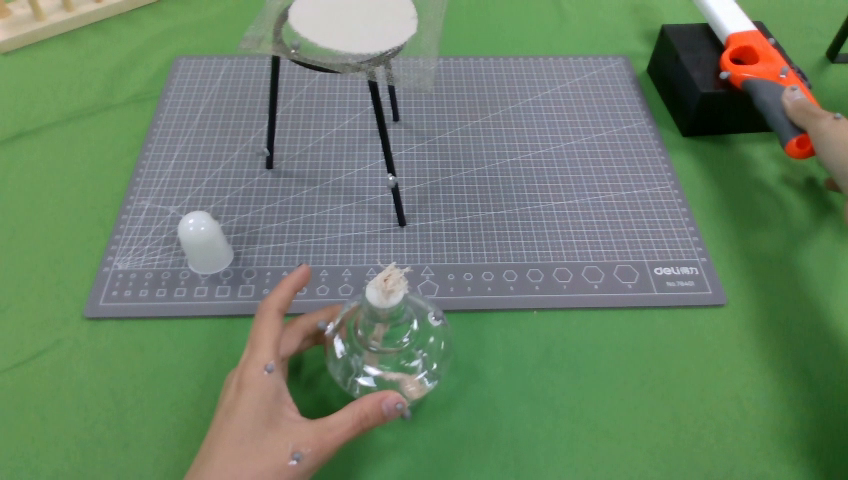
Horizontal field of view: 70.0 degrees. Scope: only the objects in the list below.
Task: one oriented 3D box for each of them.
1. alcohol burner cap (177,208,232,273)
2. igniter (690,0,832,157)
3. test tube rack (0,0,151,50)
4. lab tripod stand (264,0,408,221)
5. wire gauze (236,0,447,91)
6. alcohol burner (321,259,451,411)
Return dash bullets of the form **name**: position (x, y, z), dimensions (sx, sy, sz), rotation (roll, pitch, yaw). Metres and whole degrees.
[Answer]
- **alcohol burner cap**: position (-0.158, -0.002, 0.430), dimensions (0.034, 0.048, 0.033), rotation (2, 51, -2)
- **igniter**: position (0.280, -0.170, 0.532), dimensions (0.057, 0.025, 0.273), rotation (-8, 51, 3)
- **test tube rack**: position (-0.340, -0.289, 0.623), dimensions (0.242, 0.086, 0.066), rotation (-32, 60, -24)
- **lab tripod stand**: position (-0.054, -0.102, 0.454), dimensions (0.148, 0.132, 0.147), rotation (2, 52, -3)
- **wire gauze**: position (-0.047, -0.150, 0.405), dimensions (0.125, 0.011, 0.120), rotation (10, 52, 3)
- **alcohol burner**: position (-0.023, 0.051, 0.351), dimensions (0.078, 0.120, 0.077), rotation (0, 52, 0)
